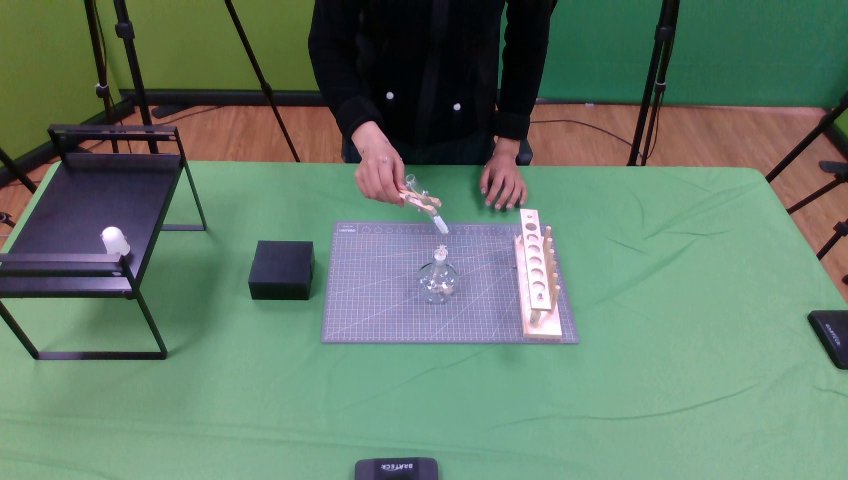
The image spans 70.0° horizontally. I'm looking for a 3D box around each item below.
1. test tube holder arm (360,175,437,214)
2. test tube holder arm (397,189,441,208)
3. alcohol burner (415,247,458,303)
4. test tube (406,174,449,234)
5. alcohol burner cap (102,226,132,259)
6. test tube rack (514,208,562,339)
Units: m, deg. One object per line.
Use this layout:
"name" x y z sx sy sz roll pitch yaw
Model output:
"test tube holder arm" -0.046 -0.077 1.004 0.177 0.015 0.013 24 68 38
"test tube holder arm" -0.010 -0.068 0.979 0.087 0.015 0.010 17 64 35
"alcohol burner" 0.024 0.057 1.078 0.078 0.119 0.077 3 44 -3
"test tube" 0.008 -0.054 0.969 0.017 0.151 0.017 -14 52 19
"alcohol burner cap" -0.457 0.001 0.897 0.034 0.048 0.033 2 47 -2
"test tube rack" 0.212 0.056 1.113 0.067 0.085 0.241 3 46 -1
